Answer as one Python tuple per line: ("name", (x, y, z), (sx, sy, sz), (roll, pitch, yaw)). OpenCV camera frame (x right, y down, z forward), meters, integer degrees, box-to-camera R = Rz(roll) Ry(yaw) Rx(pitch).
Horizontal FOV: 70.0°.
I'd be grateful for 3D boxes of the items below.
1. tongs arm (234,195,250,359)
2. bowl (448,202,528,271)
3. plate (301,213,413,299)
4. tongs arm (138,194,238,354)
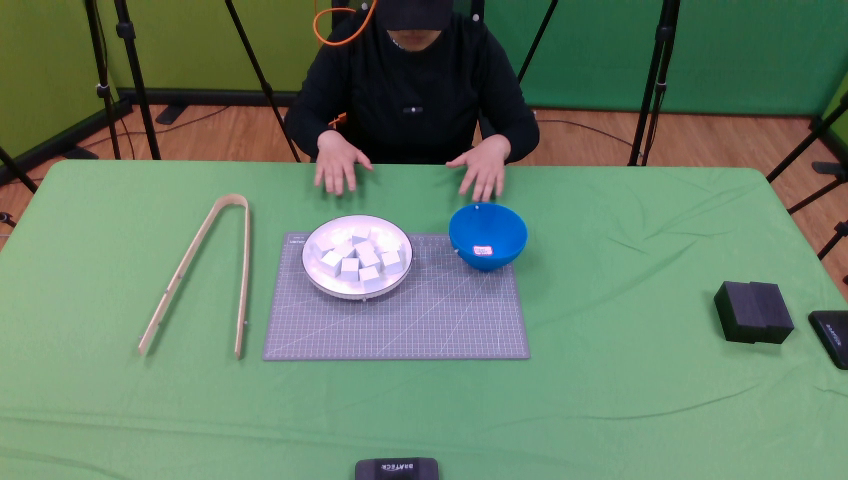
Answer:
("tongs arm", (-0.339, 0.052, 1.118), (0.028, 0.028, 0.385), (-7, 47, -7))
("bowl", (0.118, 0.006, 1.160), (0.151, 0.077, 0.150), (2, 46, -2))
("plate", (-0.124, 0.033, 1.143), (0.208, 0.039, 0.206), (2, 46, -2))
("tongs arm", (-0.421, 0.047, 1.111), (0.051, 0.026, 0.382), (6, 45, 0))
